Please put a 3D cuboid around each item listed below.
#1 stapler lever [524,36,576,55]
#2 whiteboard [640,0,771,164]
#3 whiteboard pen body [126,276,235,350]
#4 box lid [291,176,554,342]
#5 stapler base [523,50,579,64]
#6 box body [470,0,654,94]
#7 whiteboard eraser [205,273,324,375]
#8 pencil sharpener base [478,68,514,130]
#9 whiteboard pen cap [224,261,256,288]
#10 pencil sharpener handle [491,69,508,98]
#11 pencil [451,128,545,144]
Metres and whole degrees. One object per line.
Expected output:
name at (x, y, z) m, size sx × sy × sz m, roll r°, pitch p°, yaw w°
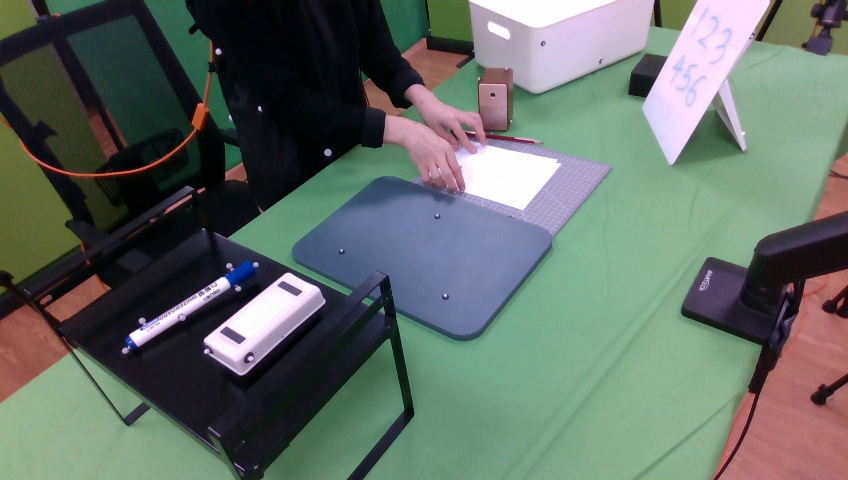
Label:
stapler lever at (0.296, -0.456, 1.418) m, size 0.117 × 0.040 × 0.027 m, roll 4°, pitch 40°, yaw 17°
whiteboard at (0.543, -0.299, 1.076) m, size 0.144 × 0.305 × 0.216 m, roll 12°, pitch 40°, yaw -7°
whiteboard pen body at (-0.251, 0.071, 0.649) m, size 0.141 × 0.017 × 0.017 m, roll -36°, pitch 48°, yaw -26°
box lid at (-0.005, 0.011, 0.972) m, size 0.368 × 0.015 × 0.264 m, roll 21°, pitch 49°, yaw 30°
stapler base at (0.301, -0.436, 1.434) m, size 0.130 × 0.024 × 0.041 m, roll 5°, pitch 40°, yaw 16°
box body at (0.319, -0.498, 1.405) m, size 0.365 × 0.161 × 0.252 m, roll -26°, pitch 43°, yaw -21°
whiteboard eraser at (-0.157, 0.084, 0.605) m, size 0.055 × 0.042 × 0.113 m, roll 24°, pitch 49°, yaw 30°
pencil sharpener base at (0.148, -0.286, 1.225) m, size 0.061 × 0.107 × 0.076 m, roll 5°, pitch 41°, yaw 15°
whiteboard pen cap at (-0.207, 0.039, 0.677) m, size 0.033 × 0.018 × 0.018 m, roll -35°, pitch 47°, yaw -18°
pencil sharpener handle at (0.155, -0.329, 1.254) m, size 0.036 × 0.068 × 0.030 m, roll 17°, pitch 43°, yaw 3°
pencil at (0.145, -0.206, 1.204) m, size 0.193 × 0.012 × 0.012 m, roll 12°, pitch 44°, yaw 20°
